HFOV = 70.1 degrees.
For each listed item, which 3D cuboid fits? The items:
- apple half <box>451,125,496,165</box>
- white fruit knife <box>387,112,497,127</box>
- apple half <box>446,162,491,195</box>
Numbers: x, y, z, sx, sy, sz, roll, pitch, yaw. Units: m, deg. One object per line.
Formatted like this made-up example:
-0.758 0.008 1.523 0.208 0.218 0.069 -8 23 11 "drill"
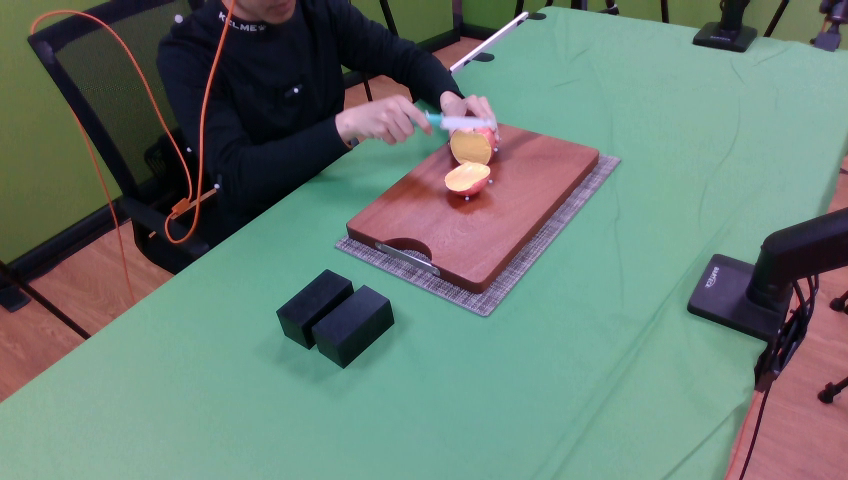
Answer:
0.093 -0.173 1.074 0.080 0.075 0.053 9 38 24 "apple half"
0.026 -0.204 1.025 0.206 0.027 0.016 5 45 25 "white fruit knife"
0.076 -0.098 1.020 0.081 0.033 0.081 -16 35 12 "apple half"
